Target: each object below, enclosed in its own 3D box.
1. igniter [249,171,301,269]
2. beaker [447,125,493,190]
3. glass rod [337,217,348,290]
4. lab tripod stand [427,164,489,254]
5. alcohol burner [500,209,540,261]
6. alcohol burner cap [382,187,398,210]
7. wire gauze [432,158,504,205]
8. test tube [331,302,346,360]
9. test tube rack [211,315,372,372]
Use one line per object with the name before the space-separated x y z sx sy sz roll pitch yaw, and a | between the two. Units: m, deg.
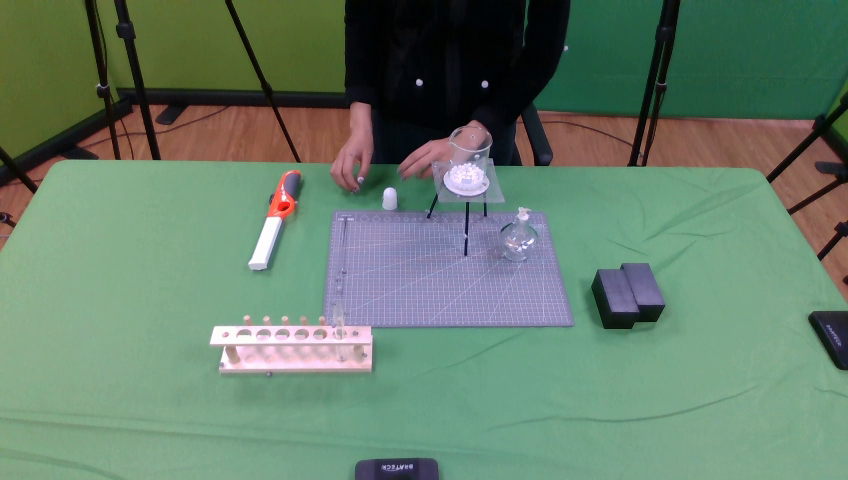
igniter | -0.297 -0.049 1.220 0.057 0.025 0.275 -1 45 9
beaker | 0.079 -0.148 1.106 0.084 0.101 0.073 -3 47 -7
glass rod | -0.158 0.022 1.171 0.008 0.008 0.198 1 43 -2
lab tripod stand | 0.078 -0.068 1.188 0.148 0.132 0.147 3 47 -3
alcohol burner | 0.185 -0.016 1.159 0.078 0.120 0.077 2 48 -2
alcohol burner cap | -0.072 -0.090 1.267 0.034 0.048 0.033 2 47 -2
wire gauze | 0.081 -0.111 1.138 0.125 0.011 0.120 0 48 -7
test tube | -0.132 0.144 0.938 0.017 0.151 0.017 2 49 -3
test tube rack | -0.208 0.163 0.982 0.242 0.085 0.066 1 46 -4
